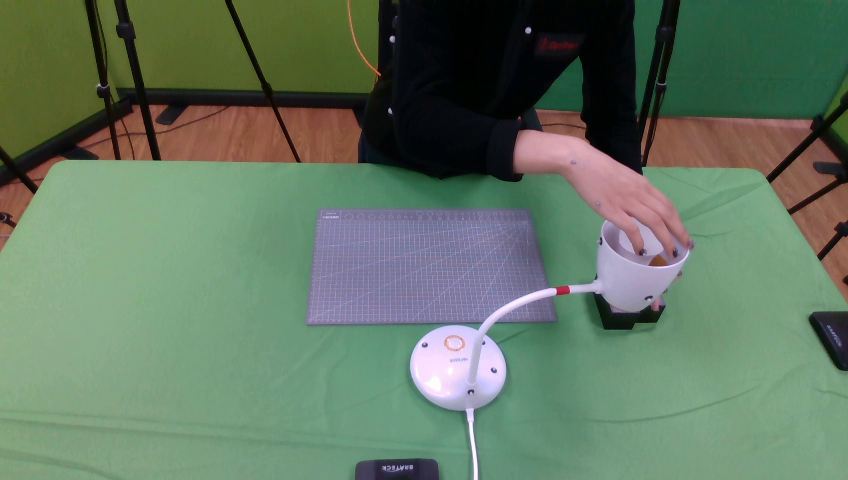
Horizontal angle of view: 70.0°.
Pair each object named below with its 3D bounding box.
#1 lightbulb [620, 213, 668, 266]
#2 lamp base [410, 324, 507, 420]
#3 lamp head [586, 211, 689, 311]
[{"bbox_3d":[0.287,0.014,0.808,0.059,0.108,0.059,1,36,-1],"label":"lightbulb"},{"bbox_3d":[0.064,0.163,0.938,0.161,0.181,0.178,-10,51,-13],"label":"lamp base"},{"bbox_3d":[0.280,0.039,0.820,0.112,0.123,0.111,5,41,-5],"label":"lamp head"}]
